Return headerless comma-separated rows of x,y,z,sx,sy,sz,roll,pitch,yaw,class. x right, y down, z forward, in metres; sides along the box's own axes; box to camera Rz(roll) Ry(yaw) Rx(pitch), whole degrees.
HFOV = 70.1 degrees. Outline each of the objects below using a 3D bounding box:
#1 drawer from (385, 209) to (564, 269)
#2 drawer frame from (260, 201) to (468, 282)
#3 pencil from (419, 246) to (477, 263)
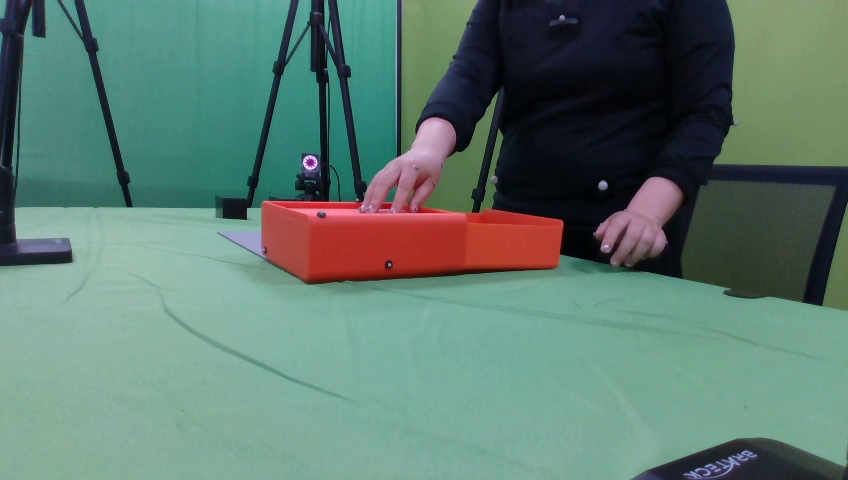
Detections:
0.058,-0.007,0.880,0.213,0.073,0.193,1,8,-31,drawer
-0.084,-0.006,0.794,0.215,0.082,0.200,-2,9,-30,drawer frame
0.040,0.018,0.877,0.012,0.012,0.195,6,7,26,pencil
